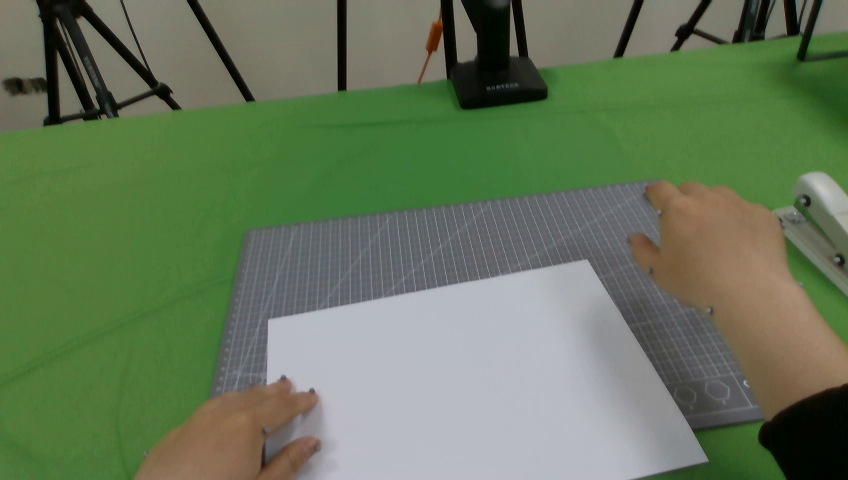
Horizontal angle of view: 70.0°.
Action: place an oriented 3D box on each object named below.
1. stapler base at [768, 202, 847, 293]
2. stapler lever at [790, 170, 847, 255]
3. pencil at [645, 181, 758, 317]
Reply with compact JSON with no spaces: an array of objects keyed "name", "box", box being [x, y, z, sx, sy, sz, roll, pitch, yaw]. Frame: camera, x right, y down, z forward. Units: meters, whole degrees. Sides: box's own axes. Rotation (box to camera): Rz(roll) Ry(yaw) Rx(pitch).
[{"name":"stapler base","box":[0.368,0.000,0.548,0.041,0.025,0.129,-12,42,-4]},{"name":"stapler lever","box":[0.366,-0.018,0.530,0.027,0.040,0.116,-12,42,-4]},{"name":"pencil","box":[0.254,0.002,0.565,0.012,0.012,0.192,-10,42,-6]}]
